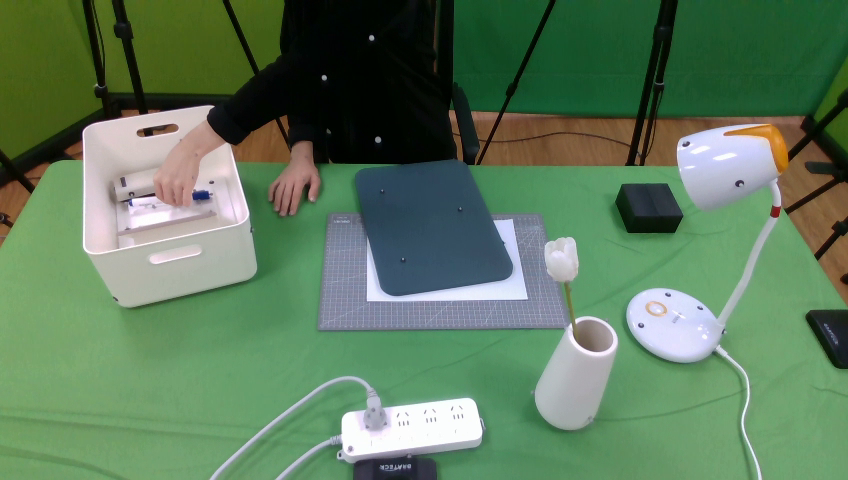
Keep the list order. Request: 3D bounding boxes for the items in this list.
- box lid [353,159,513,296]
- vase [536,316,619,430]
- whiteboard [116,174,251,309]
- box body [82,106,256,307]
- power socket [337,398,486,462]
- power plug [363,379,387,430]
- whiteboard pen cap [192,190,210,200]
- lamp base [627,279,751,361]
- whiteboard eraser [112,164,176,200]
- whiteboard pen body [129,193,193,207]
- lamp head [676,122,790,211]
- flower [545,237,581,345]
[{"bbox_3d":[0.009,-0.039,1.242,0.264,0.015,0.369,-8,47,-12],"label":"box lid"},{"bbox_3d":[0.229,0.200,0.901,0.098,0.201,0.097,3,46,-3],"label":"vase"},{"bbox_3d":[-0.473,-0.055,1.130,0.217,0.144,0.303,-15,50,-16],"label":"whiteboard"},{"bbox_3d":[-0.471,-0.070,1.131,0.254,0.161,0.361,-14,49,-17],"label":"box body"},{"bbox_3d":[-0.018,0.285,0.914,0.227,0.033,0.071,-4,46,-8],"label":"power socket"},{"bbox_3d":[-0.071,0.252,0.911,0.035,0.053,0.072,3,40,0],"label":"power plug"},{"bbox_3d":[-0.444,-0.089,1.202,0.033,0.018,0.018,-12,49,-16],"label":"whiteboard pen cap"},{"bbox_3d":[0.460,0.100,1.027,0.178,0.181,0.160,27,51,17],"label":"lamp base"},{"bbox_3d":[-0.567,-0.115,1.230,0.113,0.042,0.055,-17,57,-22],"label":"whiteboard eraser"},{"bbox_3d":[-0.499,-0.080,1.185,0.141,0.017,0.017,-8,48,-18],"label":"whiteboard pen body"},{"bbox_3d":[0.423,-0.104,0.819,0.122,0.113,0.112,-13,33,40],"label":"lamp head"},{"bbox_3d":[0.213,0.137,0.846,0.038,0.364,0.044,21,55,40],"label":"flower"}]
